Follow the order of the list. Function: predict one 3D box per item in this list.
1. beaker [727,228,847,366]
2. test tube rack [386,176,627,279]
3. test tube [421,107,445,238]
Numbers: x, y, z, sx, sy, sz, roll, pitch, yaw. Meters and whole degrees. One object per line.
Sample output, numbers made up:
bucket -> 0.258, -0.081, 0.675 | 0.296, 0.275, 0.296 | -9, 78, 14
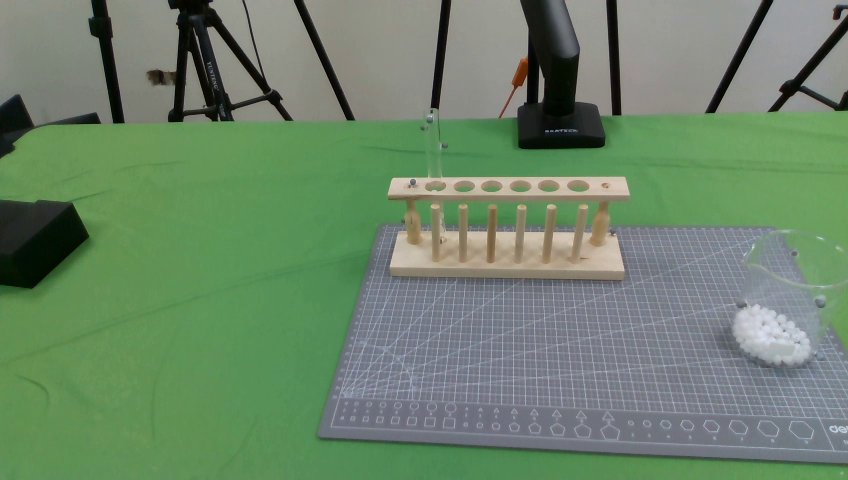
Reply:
beaker -> 0.302, 0.051, 0.515 | 0.084, 0.101, 0.073 | 0, 38, 9
test tube rack -> 0.083, -0.014, 0.635 | 0.242, 0.086, 0.066 | 1, 38, 7
test tube -> 0.010, -0.066, 0.629 | 0.017, 0.151, 0.017 | -3, 35, 3
